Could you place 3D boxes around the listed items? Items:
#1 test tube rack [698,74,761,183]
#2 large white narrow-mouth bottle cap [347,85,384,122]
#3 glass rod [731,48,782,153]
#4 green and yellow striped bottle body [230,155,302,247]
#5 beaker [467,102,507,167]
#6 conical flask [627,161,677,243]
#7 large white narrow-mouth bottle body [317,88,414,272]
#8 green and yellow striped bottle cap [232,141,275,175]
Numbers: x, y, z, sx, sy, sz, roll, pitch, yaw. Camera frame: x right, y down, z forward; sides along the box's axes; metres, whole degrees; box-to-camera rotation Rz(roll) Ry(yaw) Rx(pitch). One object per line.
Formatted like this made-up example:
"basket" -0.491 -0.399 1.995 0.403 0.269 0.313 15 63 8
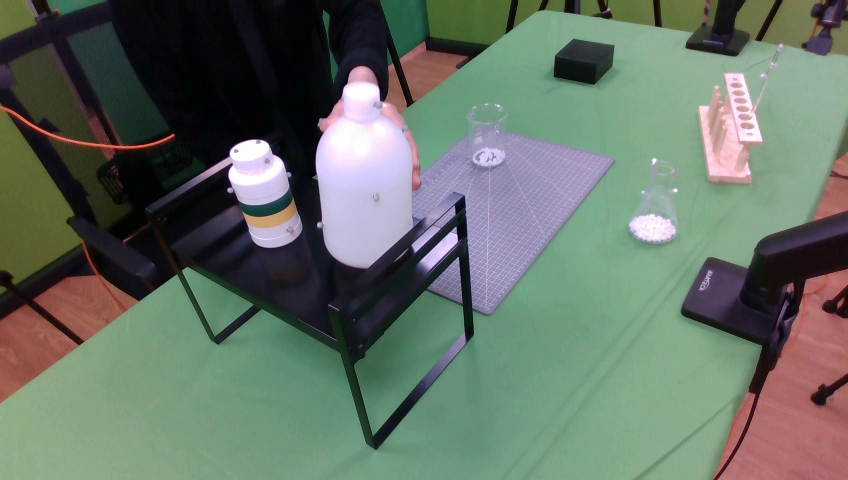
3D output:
"test tube rack" 0.547 -0.208 1.095 0.066 0.085 0.242 5 42 15
"large white narrow-mouth bottle cap" -0.057 -0.133 0.591 0.038 0.024 0.037 2 39 -1
"glass rod" 0.555 -0.228 1.014 0.008 0.200 0.008 1 44 0
"green and yellow striped bottle body" -0.188 -0.055 0.714 0.063 0.120 0.063 -4 41 4
"beaker" 0.121 -0.195 1.124 0.084 0.101 0.073 -34 48 -28
"conical flask" 0.355 -0.061 0.921 0.075 0.122 0.075 -4 41 4
"large white narrow-mouth bottle body" -0.062 -0.066 0.644 0.102 0.195 0.101 2 39 -1
"green and yellow striped bottle cap" -0.192 -0.093 0.680 0.045 0.020 0.045 -5 39 5
